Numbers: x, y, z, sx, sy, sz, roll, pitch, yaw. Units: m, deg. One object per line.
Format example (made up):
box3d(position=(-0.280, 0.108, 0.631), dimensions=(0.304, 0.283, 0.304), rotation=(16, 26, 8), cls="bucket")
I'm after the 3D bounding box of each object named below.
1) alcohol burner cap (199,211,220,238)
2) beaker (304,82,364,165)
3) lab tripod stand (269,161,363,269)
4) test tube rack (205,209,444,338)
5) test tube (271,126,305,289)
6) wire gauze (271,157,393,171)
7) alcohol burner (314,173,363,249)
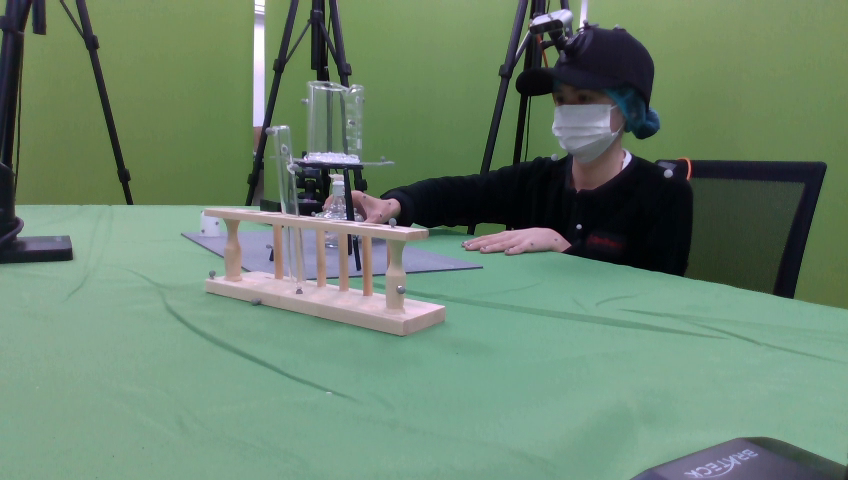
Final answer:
box3d(position=(-0.355, -0.027, 1.002), dimensions=(0.034, 0.048, 0.034), rotation=(2, 7, 0), cls="alcohol burner cap")
box3d(position=(-0.115, -0.148, 0.779), dimensions=(0.074, 0.100, 0.083), rotation=(-2, 10, -30), cls="beaker")
box3d(position=(-0.125, -0.036, 0.794), dimensions=(0.148, 0.131, 0.148), rotation=(5, 7, 0), cls="lab tripod stand")
box3d(position=(-0.100, 0.021, 0.565), dimensions=(0.241, 0.085, 0.067), rotation=(7, 8, 32), cls="test tube rack")
box3d(position=(-0.124, -0.028, 0.554), dimensions=(0.017, 0.150, 0.017), rotation=(-5, 7, 1), cls="test tube")
box3d(position=(-0.122, -0.100, 0.786), dimensions=(0.122, 0.011, 0.124), rotation=(-5, 14, -38), cls="wire gauze")
box3d(position=(-0.135, -0.046, 0.951), dimensions=(0.078, 0.119, 0.078), rotation=(1, 9, 0), cls="alcohol burner")
